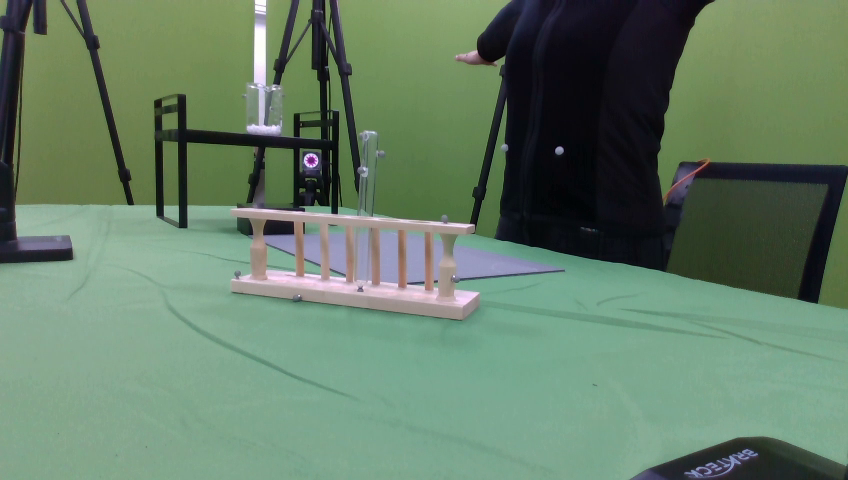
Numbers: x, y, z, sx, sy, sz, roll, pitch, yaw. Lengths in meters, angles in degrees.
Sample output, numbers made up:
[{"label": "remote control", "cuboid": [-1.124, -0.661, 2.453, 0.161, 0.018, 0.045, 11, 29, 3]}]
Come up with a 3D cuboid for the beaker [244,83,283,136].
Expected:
[{"label": "beaker", "cuboid": [-0.322, -0.260, 1.215, 0.074, 0.100, 0.083, -1, 9, -27]}]

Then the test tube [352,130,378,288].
[{"label": "test tube", "cuboid": [-0.057, -0.029, 0.575, 0.017, 0.150, 0.017, 4, 4, 0]}]

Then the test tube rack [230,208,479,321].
[{"label": "test tube rack", "cuboid": [-0.069, 0.017, 0.598, 0.242, 0.085, 0.067, 5, 8, 18]}]
